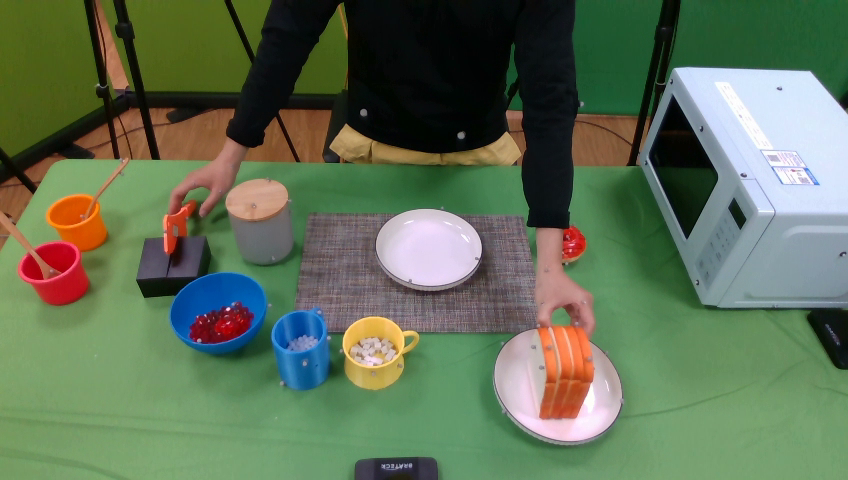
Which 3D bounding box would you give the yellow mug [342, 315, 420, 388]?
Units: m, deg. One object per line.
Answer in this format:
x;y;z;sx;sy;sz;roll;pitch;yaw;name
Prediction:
-0.067;0.177;0.990;0.131;0.064;0.099;-15;50;-19;yellow mug

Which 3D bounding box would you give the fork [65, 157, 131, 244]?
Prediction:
-0.608;-0.074;1.132;0.207;0.019;0.028;-52;48;10;fork

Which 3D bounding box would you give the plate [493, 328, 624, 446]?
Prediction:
0.213;0.236;0.974;0.208;0.039;0.206;2;46;-2;plate

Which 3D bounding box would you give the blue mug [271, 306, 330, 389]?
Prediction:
-0.188;0.163;0.969;0.082;0.106;0.116;15;47;10;blue mug

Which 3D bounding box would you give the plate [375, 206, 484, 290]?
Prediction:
0.009;0.019;1.160;0.209;0.038;0.208;2;47;-2;plate

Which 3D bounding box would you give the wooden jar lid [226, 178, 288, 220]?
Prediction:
-0.296;-0.070;1.081;0.108;0.021;0.107;1;45;-1;wooden jar lid

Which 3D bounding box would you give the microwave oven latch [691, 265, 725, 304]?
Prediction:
0.521;0.081;1.116;0.030;0.029;0.078;0;46;-3;microwave oven latch

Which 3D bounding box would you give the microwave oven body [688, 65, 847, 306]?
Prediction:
0.669;-0.111;1.176;0.326;0.261;0.439;0;46;-3;microwave oven body

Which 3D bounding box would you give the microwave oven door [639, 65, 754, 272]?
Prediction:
0.522;-0.147;1.193;0.039;0.245;0.353;0;47;-3;microwave oven door

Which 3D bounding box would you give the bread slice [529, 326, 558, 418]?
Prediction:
0.182;0.195;0.928;0.019;0.132;0.104;-4;47;-1;bread slice

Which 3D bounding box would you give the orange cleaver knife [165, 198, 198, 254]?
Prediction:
-0.458;-0.031;1.149;0.012;0.077;0.210;-1;17;-6;orange cleaver knife

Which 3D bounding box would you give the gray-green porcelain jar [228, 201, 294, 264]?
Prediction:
-0.299;-0.027;1.126;0.106;0.127;0.105;2;46;-2;gray-green porcelain jar

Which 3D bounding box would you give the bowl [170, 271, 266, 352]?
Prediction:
-0.333;0.132;1.006;0.151;0.077;0.150;2;46;-2;bowl

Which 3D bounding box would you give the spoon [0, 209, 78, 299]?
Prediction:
-0.668;0.021;1.040;0.041;0.021;0.194;-41;105;-30;spoon

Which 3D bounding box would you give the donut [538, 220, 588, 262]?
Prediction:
0.273;0.000;1.198;0.099;0.048;0.098;0;47;0;donut

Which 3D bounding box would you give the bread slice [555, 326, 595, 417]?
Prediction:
0.230;0.198;0.932;0.018;0.135;0.106;2;52;-6;bread slice
